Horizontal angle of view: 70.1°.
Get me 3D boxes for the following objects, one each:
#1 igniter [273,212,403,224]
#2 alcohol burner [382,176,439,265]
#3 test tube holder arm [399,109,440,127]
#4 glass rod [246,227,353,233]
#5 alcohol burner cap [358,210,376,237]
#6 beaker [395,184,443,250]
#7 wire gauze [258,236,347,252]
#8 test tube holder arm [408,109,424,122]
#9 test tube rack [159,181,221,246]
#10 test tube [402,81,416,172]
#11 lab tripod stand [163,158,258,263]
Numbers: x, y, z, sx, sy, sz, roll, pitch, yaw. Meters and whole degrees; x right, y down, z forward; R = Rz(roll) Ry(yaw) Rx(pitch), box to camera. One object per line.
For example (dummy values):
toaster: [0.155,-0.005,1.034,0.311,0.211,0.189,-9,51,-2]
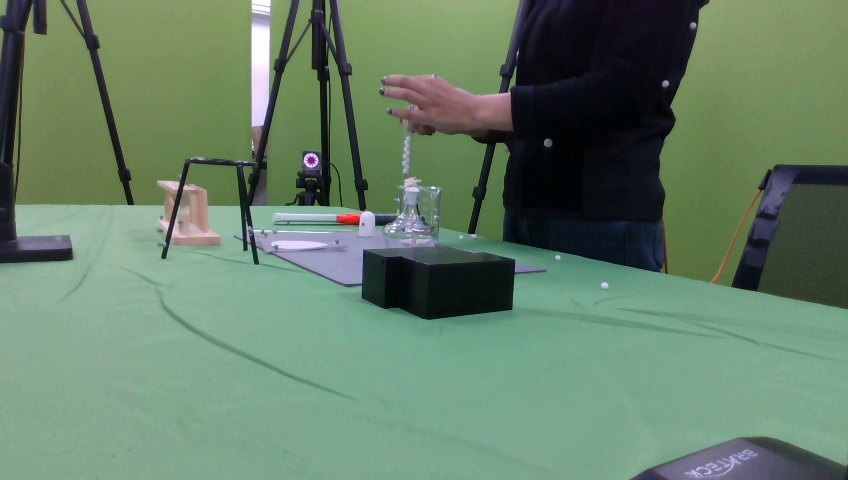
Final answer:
igniter: [-0.179,-0.048,1.290,0.278,0.025,0.057,-1,-2,-24]
alcohol burner: [-0.018,-0.027,0.818,0.078,0.119,0.078,3,9,0]
test tube holder arm: [-0.005,-0.216,1.075,0.013,0.015,0.179,11,8,18]
glass rod: [-0.224,-0.017,1.109,0.201,0.008,0.008,1,7,-27]
alcohol burner cap: [-0.104,-0.030,1.098,0.034,0.048,0.034,2,7,0]
beaker: [-0.007,-0.037,0.965,0.074,0.100,0.083,-4,11,-40]
wire gauze: [-0.189,0.005,0.931,0.122,0.011,0.124,1,7,-21]
test tube holder arm: [-0.013,-0.211,1.030,0.010,0.015,0.088,9,8,9]
test tube rack: [-0.395,-0.050,1.010,0.067,0.085,0.241,-2,8,-28]
test tube: [-0.026,-0.189,1.012,0.017,0.150,0.017,4,8,0]
lab tripod stand: [-0.265,-0.041,0.802,0.148,0.131,0.148,4,6,0]
